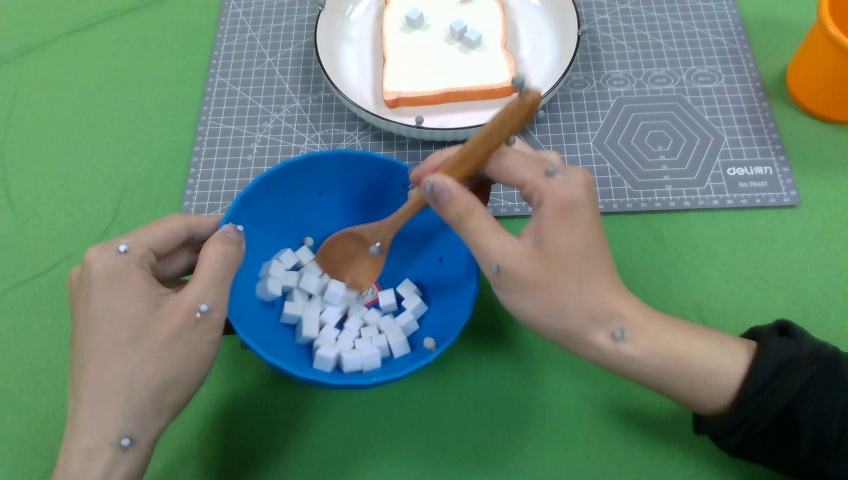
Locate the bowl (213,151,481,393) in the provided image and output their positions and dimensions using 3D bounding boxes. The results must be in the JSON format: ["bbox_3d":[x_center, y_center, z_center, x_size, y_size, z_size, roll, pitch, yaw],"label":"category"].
[{"bbox_3d":[-0.047,0.028,0.374,0.152,0.077,0.150,6,60,-10],"label":"bowl"}]

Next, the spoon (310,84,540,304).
[{"bbox_3d":[-0.006,-0.017,0.336,0.041,0.194,0.021,48,39,-3],"label":"spoon"}]

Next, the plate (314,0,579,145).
[{"bbox_3d":[0.017,-0.159,0.492,0.209,0.038,0.207,-2,63,3],"label":"plate"}]

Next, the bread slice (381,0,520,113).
[{"bbox_3d":[0.014,-0.162,0.497,0.107,0.018,0.133,-9,65,0],"label":"bread slice"}]
